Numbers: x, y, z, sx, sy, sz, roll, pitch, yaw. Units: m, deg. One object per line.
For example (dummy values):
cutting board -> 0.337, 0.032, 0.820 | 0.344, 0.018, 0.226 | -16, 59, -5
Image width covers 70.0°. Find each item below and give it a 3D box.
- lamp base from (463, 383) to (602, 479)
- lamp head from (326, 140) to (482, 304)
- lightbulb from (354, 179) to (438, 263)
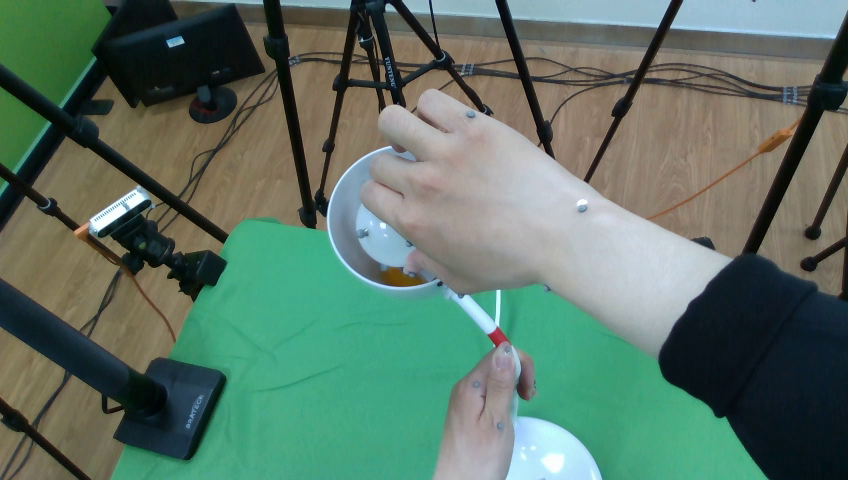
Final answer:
lamp base -> 0.109, 0.234, 0.644 | 0.161, 0.182, 0.177 | -26, 56, -7
lamp head -> -0.007, 0.000, 0.476 | 0.112, 0.124, 0.111 | -3, 67, 7
lightbulb -> -0.017, -0.007, 0.453 | 0.059, 0.108, 0.059 | -1, 76, 6
